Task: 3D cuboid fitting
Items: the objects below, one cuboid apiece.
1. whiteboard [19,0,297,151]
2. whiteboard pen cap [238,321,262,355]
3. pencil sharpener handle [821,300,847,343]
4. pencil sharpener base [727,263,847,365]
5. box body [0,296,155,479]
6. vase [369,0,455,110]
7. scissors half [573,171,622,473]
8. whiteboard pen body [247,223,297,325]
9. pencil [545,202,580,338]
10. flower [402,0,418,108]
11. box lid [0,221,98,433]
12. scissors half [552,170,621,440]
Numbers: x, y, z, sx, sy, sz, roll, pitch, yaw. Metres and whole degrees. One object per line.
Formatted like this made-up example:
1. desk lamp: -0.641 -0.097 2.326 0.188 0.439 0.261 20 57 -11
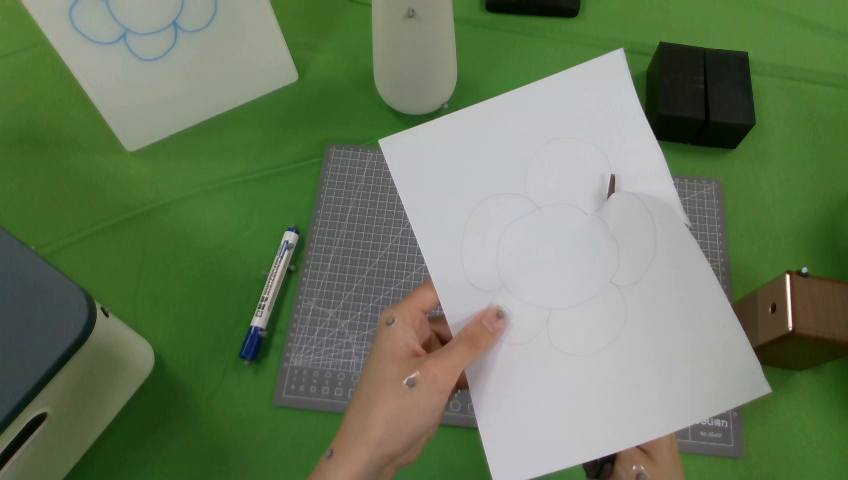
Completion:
1. whiteboard: -0.303 -0.291 0.646 0.217 0.308 0.142 -27 50 -10
2. whiteboard pen cap: -0.172 0.097 0.602 0.018 0.018 0.033 12 63 6
3. pencil sharpener handle: 0.395 0.078 0.552 0.030 0.068 0.035 10 62 1
4. pencil sharpener base: 0.344 0.072 0.565 0.077 0.107 0.061 10 67 1
5. box body: -0.464 0.085 0.533 0.362 0.161 0.253 31 71 12
6. vase: -0.015 -0.229 0.643 0.098 0.201 0.097 -1 66 2
7. scissors half: 0.103 0.046 0.350 0.013 0.040 0.175 5 85 -12
8. whiteboard pen body: -0.159 0.045 0.626 0.017 0.017 0.140 12 66 6
9. pencil: 0.149 0.049 0.627 0.012 0.012 0.192 -7 69 -2
10. flower: -0.021 -0.274 0.572 0.044 0.365 0.038 -1 49 4
11. box lid: -0.466 0.055 0.465 0.370 0.015 0.262 31 70 12
12. scissors half: 0.100 0.043 0.371 0.013 0.039 0.176 6 109 -7
